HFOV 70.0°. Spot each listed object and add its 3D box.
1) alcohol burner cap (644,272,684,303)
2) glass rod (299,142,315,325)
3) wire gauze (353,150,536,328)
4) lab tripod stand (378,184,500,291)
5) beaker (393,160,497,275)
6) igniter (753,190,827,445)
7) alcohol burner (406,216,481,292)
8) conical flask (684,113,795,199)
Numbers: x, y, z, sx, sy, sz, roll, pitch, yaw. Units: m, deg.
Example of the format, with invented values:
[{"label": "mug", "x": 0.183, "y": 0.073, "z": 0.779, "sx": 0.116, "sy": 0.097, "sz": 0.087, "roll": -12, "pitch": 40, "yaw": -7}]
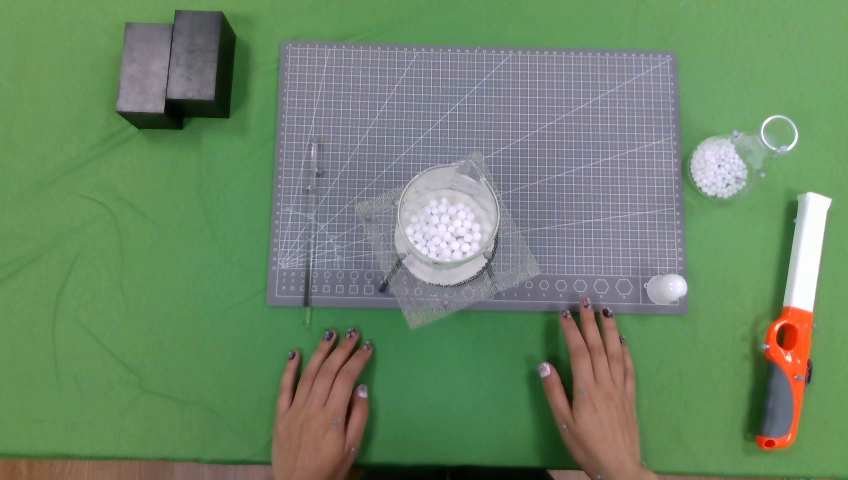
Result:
[{"label": "alcohol burner cap", "x": 0.254, "y": 0.048, "z": 0.635, "sx": 0.034, "sy": 0.048, "sz": 0.033, "roll": 0, "pitch": 81, "yaw": -1}, {"label": "glass rod", "x": -0.125, "y": -0.008, "z": 0.652, "sx": 0.008, "sy": 0.008, "sz": 0.199, "roll": 2, "pitch": 84, "yaw": -1}, {"label": "wire gauze", "x": 0.018, "y": -0.002, "z": 0.525, "sx": 0.125, "sy": 0.011, "sz": 0.121, "roll": -24, "pitch": 85, "yaw": -6}, {"label": "lab tripod stand", "x": 0.016, "y": 0.009, "z": 0.589, "sx": 0.148, "sy": 0.132, "sz": 0.148, "roll": 0, "pitch": 83, "yaw": -1}, {"label": "beaker", "x": 0.016, "y": -0.013, "z": 0.478, "sx": 0.074, "sy": 0.100, "sz": 0.084, "roll": 23, "pitch": 81, "yaw": 2}, {"label": "igniter", "x": 0.390, "y": 0.081, "z": 0.643, "sx": 0.057, "sy": 0.025, "sz": 0.275, "roll": 16, "pitch": 81, "yaw": -9}, {"label": "alcohol burner", "x": 0.019, "y": 0.011, "z": 0.599, "sx": 0.078, "sy": 0.119, "sz": 0.077, "roll": 0, "pitch": 80, "yaw": 1}, {"label": "conical flask", "x": 0.326, "y": -0.090, "z": 0.620, "sx": 0.075, "sy": 0.122, "sz": 0.075, "roll": 0, "pitch": 80, "yaw": 0}]
